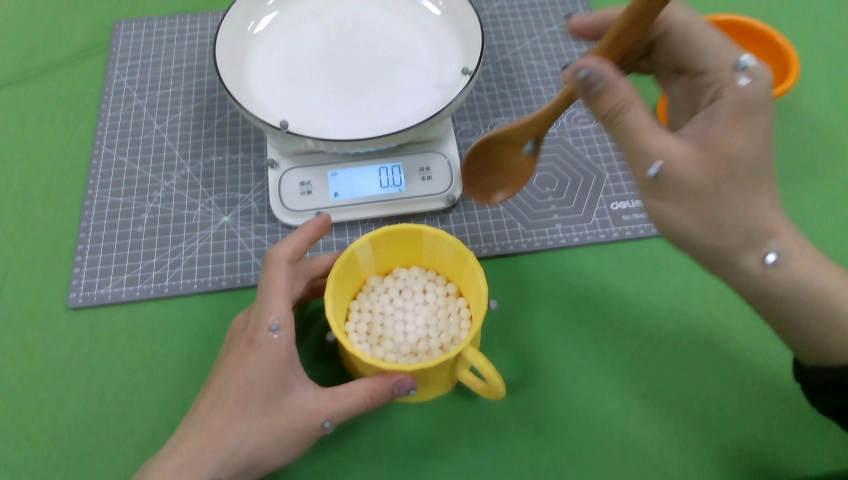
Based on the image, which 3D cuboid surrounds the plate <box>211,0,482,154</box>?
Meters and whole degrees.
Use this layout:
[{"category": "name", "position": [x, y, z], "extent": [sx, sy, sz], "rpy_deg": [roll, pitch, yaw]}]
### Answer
[{"category": "plate", "position": [-0.059, -0.148, 0.482], "extent": [0.209, 0.038, 0.207], "rpy_deg": [1, 61, -1]}]

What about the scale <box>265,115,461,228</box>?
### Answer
[{"category": "scale", "position": [-0.055, -0.107, 0.496], "extent": [0.149, 0.032, 0.199], "rpy_deg": [-7, 61, -4]}]

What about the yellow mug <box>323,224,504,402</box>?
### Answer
[{"category": "yellow mug", "position": [0.000, 0.057, 0.389], "extent": [0.130, 0.064, 0.100], "rpy_deg": [39, 69, 18]}]

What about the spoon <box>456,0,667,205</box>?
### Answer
[{"category": "spoon", "position": [0.068, -0.071, 0.291], "extent": [0.042, 0.194, 0.021], "rpy_deg": [25, 58, -11]}]
